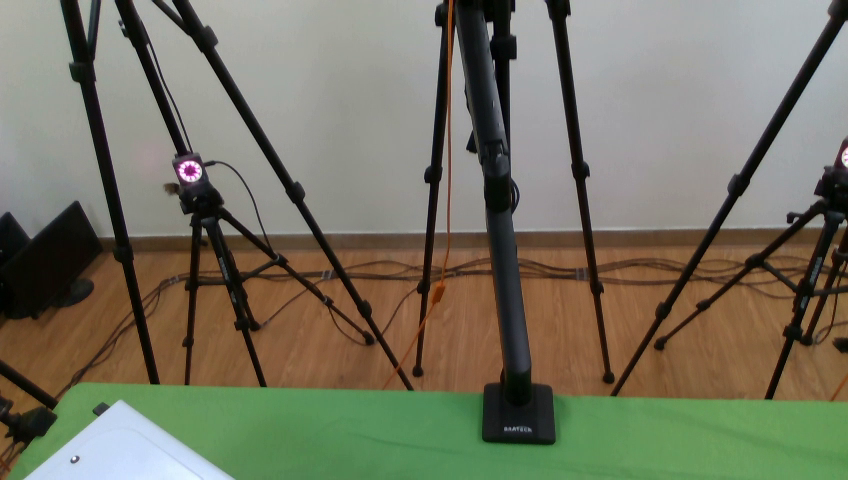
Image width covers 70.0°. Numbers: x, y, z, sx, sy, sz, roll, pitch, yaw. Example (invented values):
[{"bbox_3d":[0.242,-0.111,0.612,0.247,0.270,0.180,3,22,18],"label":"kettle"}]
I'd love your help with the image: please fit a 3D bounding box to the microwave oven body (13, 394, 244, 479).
[{"bbox_3d":[-0.408,0.461,0.702,0.323,0.263,0.440,20,46,28],"label":"microwave oven body"}]
